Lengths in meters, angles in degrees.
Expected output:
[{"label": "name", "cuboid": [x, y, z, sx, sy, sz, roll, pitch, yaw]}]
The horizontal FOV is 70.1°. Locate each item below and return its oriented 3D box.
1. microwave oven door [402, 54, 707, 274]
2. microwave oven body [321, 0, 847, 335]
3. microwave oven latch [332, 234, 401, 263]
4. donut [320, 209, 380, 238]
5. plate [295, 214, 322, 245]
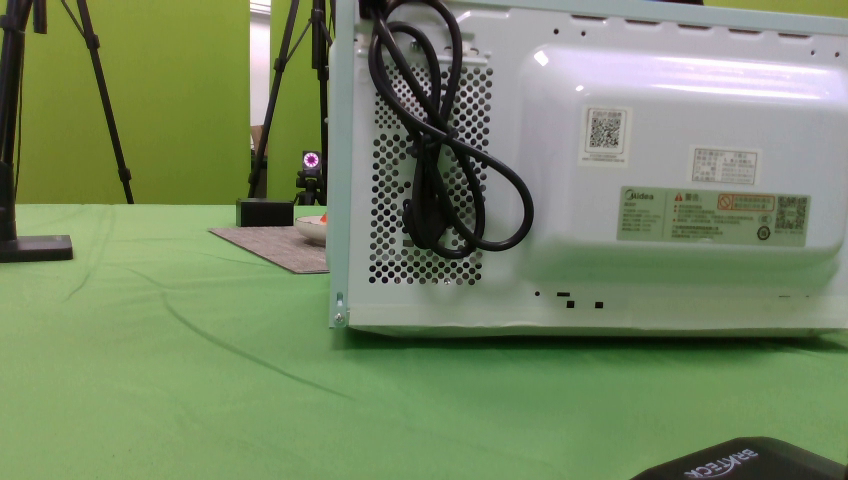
[{"label": "microwave oven door", "cuboid": [0.157, -0.085, 0.717, 0.357, 0.243, 0.039, 1, 8, -8]}, {"label": "microwave oven body", "cuboid": [0.133, -0.062, 0.568, 0.443, 0.260, 0.325, 2, 7, -8]}, {"label": "microwave oven latch", "cuboid": [-0.066, 0.010, 0.701, 0.079, 0.029, 0.030, 2, 7, -8]}, {"label": "donut", "cuboid": [-0.121, -0.027, 0.996, 0.099, 0.048, 0.099, 2, 4, 0]}, {"label": "plate", "cuboid": [-0.107, -0.016, 0.997, 0.209, 0.038, 0.209, 2, 7, 0]}]
